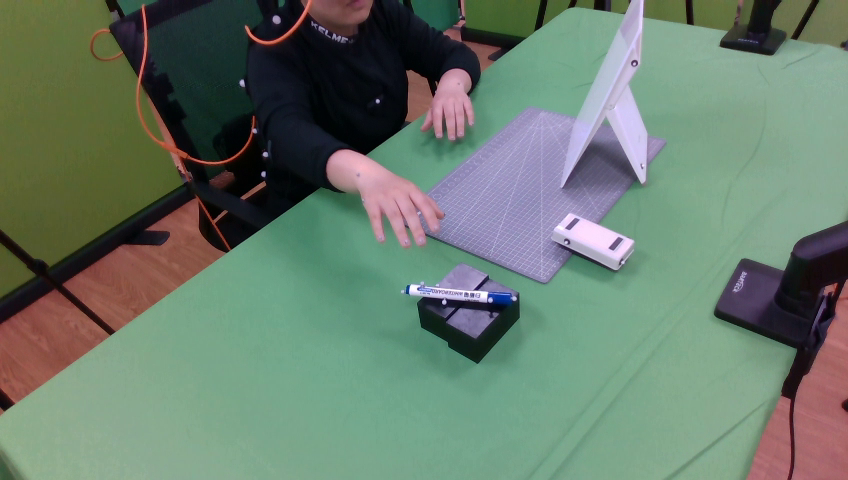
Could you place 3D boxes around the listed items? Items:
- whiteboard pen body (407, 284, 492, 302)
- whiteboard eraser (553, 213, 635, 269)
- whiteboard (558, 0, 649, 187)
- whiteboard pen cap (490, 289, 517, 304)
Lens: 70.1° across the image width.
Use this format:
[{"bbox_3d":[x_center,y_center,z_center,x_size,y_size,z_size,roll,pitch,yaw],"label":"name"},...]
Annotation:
[{"bbox_3d":[0.044,0.072,0.812,0.140,0.017,0.017,4,42,14],"label":"whiteboard pen body"},{"bbox_3d":[0.257,0.003,0.918,0.112,0.042,0.056,27,49,30],"label":"whiteboard eraser"},{"bbox_3d":[0.361,-0.238,1.026,0.144,0.306,0.217,21,44,4],"label":"whiteboard"},{"bbox_3d":[0.105,0.074,0.798,0.033,0.018,0.018,-8,37,-28],"label":"whiteboard pen cap"}]
